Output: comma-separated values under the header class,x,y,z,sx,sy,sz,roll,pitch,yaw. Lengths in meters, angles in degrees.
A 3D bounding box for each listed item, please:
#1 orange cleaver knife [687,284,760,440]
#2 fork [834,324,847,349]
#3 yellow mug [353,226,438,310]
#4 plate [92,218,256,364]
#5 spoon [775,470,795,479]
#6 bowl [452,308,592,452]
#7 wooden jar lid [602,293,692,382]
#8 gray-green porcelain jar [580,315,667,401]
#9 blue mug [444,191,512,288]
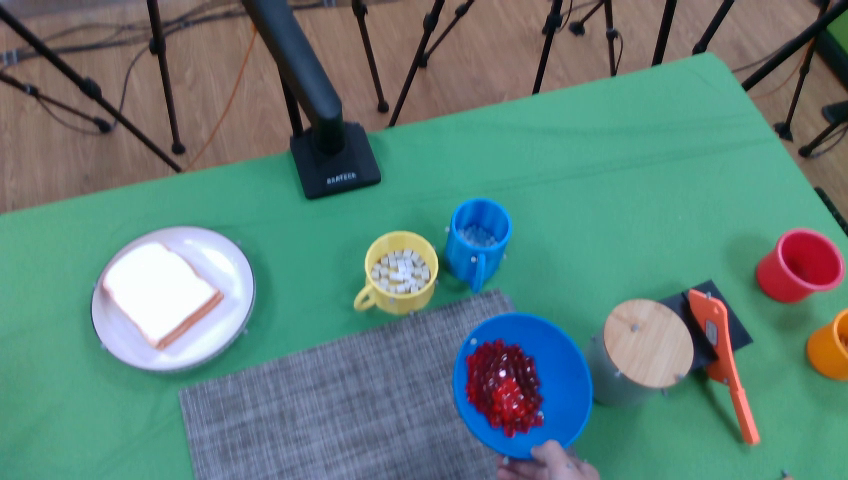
class,x,y,z,sx,sy,sz,roll,pitch,yaw
orange cleaver knife,0.394,0.159,0.802,0.012,0.077,0.211,-18,93,-12
fork,0.559,0.152,0.782,0.028,0.018,0.207,44,25,9
yellow mug,-0.044,0.047,0.832,0.131,0.064,0.099,-37,71,-19
plate,-0.330,0.069,0.814,0.208,0.039,0.206,2,64,-4
spoon,0.394,0.337,0.748,0.194,0.022,0.041,-26,50,-16
bowl,0.097,0.157,0.659,0.152,0.077,0.150,5,65,-10
wooden jar lid,0.262,0.116,0.718,0.108,0.021,0.107,3,65,-6
gray-green porcelain jar,0.259,0.145,0.774,0.106,0.127,0.105,2,63,-4
blue mug,0.073,0.008,0.839,0.082,0.106,0.115,3,64,-3
